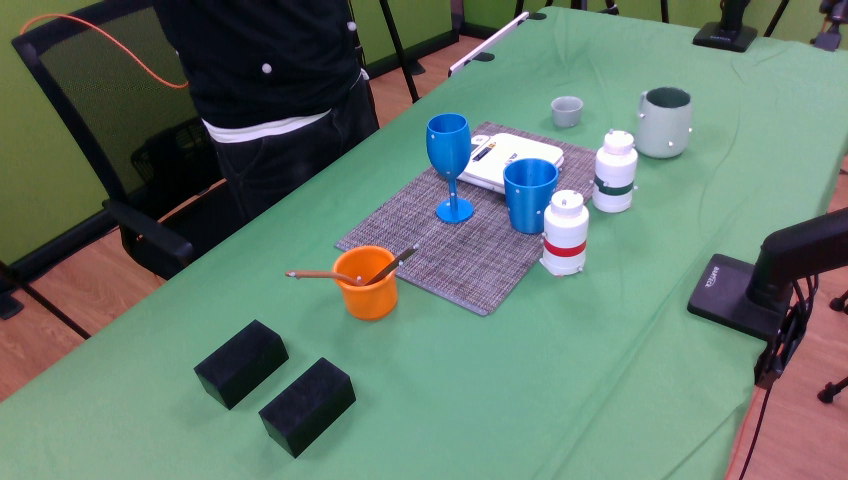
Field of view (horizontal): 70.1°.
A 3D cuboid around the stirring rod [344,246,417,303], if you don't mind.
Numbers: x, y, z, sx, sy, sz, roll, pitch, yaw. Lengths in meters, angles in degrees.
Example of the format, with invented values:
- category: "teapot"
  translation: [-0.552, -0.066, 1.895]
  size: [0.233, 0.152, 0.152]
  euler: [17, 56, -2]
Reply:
- category: "stirring rod"
  translation: [-0.062, 0.050, 0.819]
  size: [0.014, 0.175, 0.006]
  euler: [-1, 63, -40]

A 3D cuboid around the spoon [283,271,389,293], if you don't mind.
- category: "spoon"
  translation: [-0.117, 0.054, 0.825]
  size: [0.041, 0.195, 0.021]
  euler: [17, 89, 38]

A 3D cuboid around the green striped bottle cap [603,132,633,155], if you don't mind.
- category: "green striped bottle cap"
  translation: [0.302, -0.149, 0.939]
  size: [0.044, 0.020, 0.044]
  euler: [-3, 40, 3]

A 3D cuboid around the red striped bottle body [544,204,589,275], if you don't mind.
- category: "red striped bottle body"
  translation: [0.206, -0.011, 0.877]
  size: [0.063, 0.120, 0.062]
  euler: [-4, 41, 4]

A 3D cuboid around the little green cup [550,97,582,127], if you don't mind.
- category: "little green cup"
  translation: [0.284, -0.255, 1.213]
  size: [0.061, 0.039, 0.061]
  euler: [-4, 41, 4]

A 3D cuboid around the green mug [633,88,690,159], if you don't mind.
- category: "green mug"
  translation: [0.423, -0.217, 1.099]
  size: [0.093, 0.105, 0.124]
  euler: [-16, 41, -10]

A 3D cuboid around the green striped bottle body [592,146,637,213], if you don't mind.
- category: "green striped bottle body"
  translation: [0.307, -0.108, 0.976]
  size: [0.063, 0.120, 0.063]
  euler: [-4, 41, 4]

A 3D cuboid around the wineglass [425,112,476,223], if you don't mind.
- category: "wineglass"
  translation: [0.043, -0.114, 0.972]
  size: [0.074, 0.173, 0.073]
  euler: [-4, 41, 4]

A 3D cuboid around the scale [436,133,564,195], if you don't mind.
- category: "scale"
  translation: [0.137, -0.141, 1.101]
  size: [0.199, 0.032, 0.149]
  euler: [22, 48, 30]

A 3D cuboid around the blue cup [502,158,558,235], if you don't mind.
- category: "blue cup"
  translation: [0.168, -0.064, 0.954]
  size: [0.092, 0.100, 0.092]
  euler: [-5, 38, 5]

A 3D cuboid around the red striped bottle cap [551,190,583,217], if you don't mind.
- category: "red striped bottle cap"
  translation: [0.200, -0.052, 0.843]
  size: [0.044, 0.018, 0.044]
  euler: [-2, 41, 3]
